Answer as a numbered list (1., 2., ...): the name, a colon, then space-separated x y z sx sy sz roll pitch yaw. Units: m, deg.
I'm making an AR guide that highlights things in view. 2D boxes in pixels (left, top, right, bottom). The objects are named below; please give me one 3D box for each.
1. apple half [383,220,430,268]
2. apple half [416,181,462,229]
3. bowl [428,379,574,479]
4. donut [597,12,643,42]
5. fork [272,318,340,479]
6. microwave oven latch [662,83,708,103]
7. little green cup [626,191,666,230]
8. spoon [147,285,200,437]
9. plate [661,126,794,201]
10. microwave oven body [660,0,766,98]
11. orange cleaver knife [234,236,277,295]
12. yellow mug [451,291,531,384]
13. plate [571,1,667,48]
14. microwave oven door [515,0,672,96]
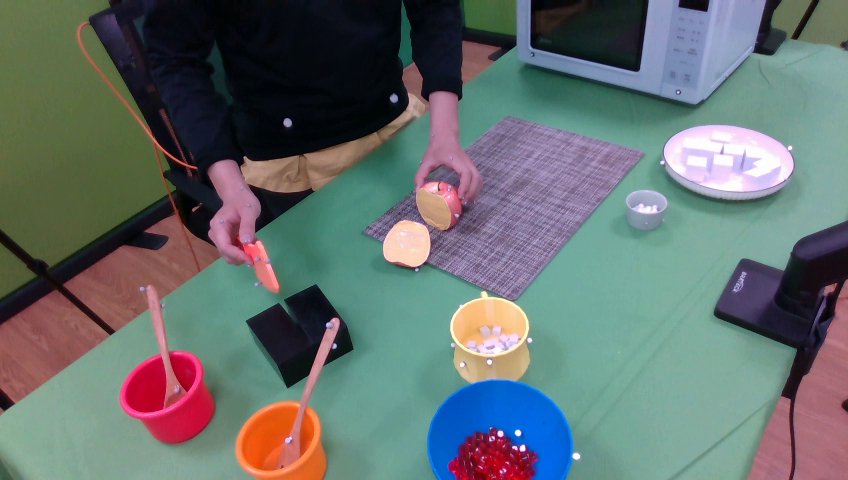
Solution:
1. apple half: -0.022 0.009 0.948 0.081 0.033 0.081 -4 72 13
2. apple half: 0.032 -0.062 0.997 0.080 0.075 0.053 24 46 37
3. bowl: 0.082 0.233 0.644 0.151 0.077 0.150 -4 39 4
4. donut: 0.437 -0.476 1.347 0.099 0.048 0.098 -14 28 8
5. fork: -0.131 0.186 0.676 0.028 0.019 0.207 18 90 28
6. microwave oven latch: 0.518 -0.296 1.204 0.078 0.029 0.030 27 52 35
7. little green cup: 0.352 -0.046 0.963 0.061 0.039 0.061 -4 40 4
8. spoon: -0.318 0.148 0.754 0.042 0.021 0.193 -15 85 -10
9. plate: 0.513 -0.128 1.035 0.207 0.039 0.206 -4 40 4
10. microwave oven body: 0.472 -0.514 1.317 0.438 0.261 0.327 26 51 34
11. orange cleaver knife: -0.233 0.031 0.835 0.012 0.077 0.210 -19 14 -23
12. yellow mug: 0.085 0.120 0.786 0.100 0.064 0.130 -7 39 1
13. plate: 0.438 -0.484 1.369 0.209 0.038 0.208 -4 42 4
14. microwave oven door: 0.344 -0.455 1.260 0.353 0.245 0.039 26 51 33
